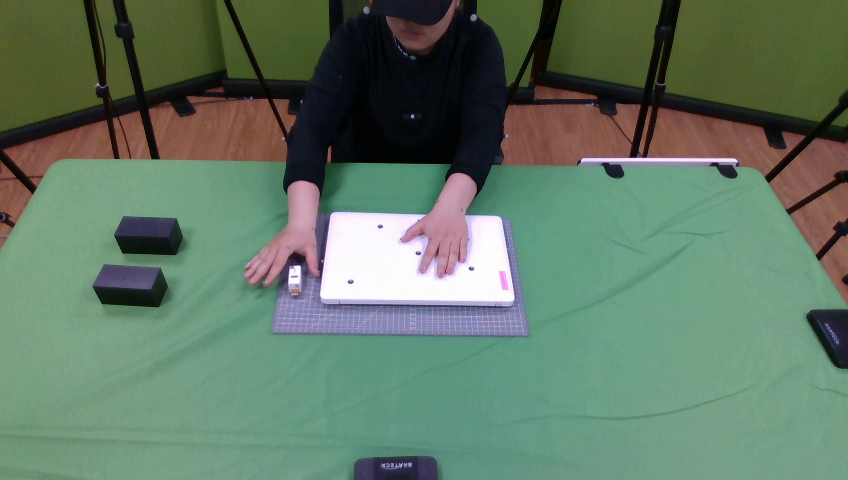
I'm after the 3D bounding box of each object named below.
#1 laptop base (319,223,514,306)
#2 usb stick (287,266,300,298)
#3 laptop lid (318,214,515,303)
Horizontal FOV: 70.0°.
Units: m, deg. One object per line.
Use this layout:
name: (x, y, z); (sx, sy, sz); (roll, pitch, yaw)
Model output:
laptop base: (-0.015, 0.037, 1.162); (0.354, 0.023, 0.234); (1, 42, -3)
usb stick: (-0.237, 0.077, 1.097); (0.021, 0.027, 0.059); (-1, 49, -8)
laptop lid: (-0.014, 0.029, 1.157); (0.357, 0.013, 0.240); (3, 43, -2)
